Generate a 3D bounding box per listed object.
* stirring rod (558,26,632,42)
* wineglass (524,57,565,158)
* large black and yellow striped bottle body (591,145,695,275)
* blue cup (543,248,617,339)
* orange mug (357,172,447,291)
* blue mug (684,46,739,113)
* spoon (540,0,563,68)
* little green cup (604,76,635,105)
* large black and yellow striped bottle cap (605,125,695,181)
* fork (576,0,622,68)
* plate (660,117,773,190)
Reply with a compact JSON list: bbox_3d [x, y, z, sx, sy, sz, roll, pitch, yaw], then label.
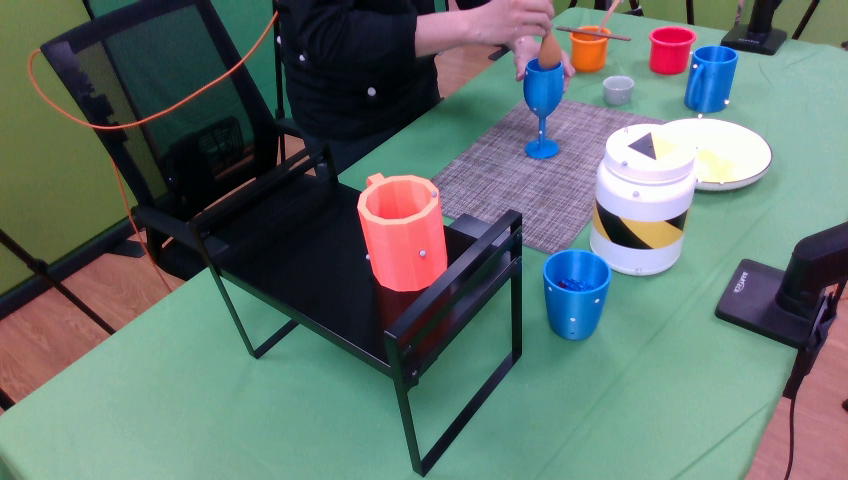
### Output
[{"bbox_3d":[0.381,-0.462,1.356,0.175,0.006,0.014,22,48,30],"label":"stirring rod"},{"bbox_3d":[0.218,-0.240,1.102,0.074,0.173,0.073,-5,41,4],"label":"wineglass"},{"bbox_3d":[0.313,-0.056,0.870,0.131,0.185,0.130,-4,40,4],"label":"large black and yellow striped bottle body"},{"bbox_3d":[0.199,0.076,0.797,0.092,0.100,0.092,-4,39,4],"label":"blue cup"},{"bbox_3d":[-0.030,-0.018,0.669,0.084,0.101,0.125,-23,47,-16],"label":"orange mug"},{"bbox_3d":[0.556,-0.310,1.190,0.117,0.106,0.081,-32,46,-25],"label":"blue mug"},{"bbox_3d":[0.196,-0.364,0.976,0.041,0.195,0.021,-17,39,2],"label":"spoon"},{"bbox_3d":[0.408,-0.312,1.266,0.061,0.039,0.061,-4,40,4],"label":"little green cup"},{"bbox_3d":[0.304,-0.120,0.817,0.115,0.019,0.114,-3,41,3],"label":"large black and yellow striped bottle cap"},{"bbox_3d":[0.409,-0.484,1.381,0.028,0.019,0.207,37,101,45],"label":"fork"},{"bbox_3d":[0.495,-0.149,1.063,0.209,0.038,0.208,-5,40,5],"label":"plate"}]
